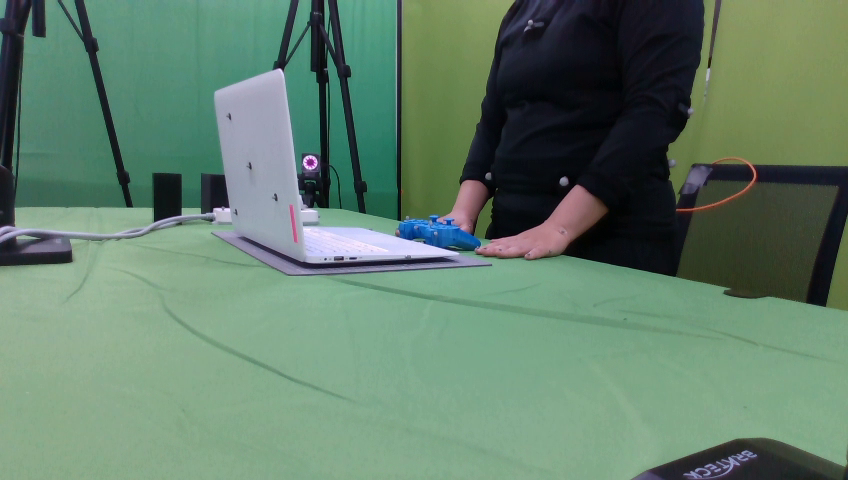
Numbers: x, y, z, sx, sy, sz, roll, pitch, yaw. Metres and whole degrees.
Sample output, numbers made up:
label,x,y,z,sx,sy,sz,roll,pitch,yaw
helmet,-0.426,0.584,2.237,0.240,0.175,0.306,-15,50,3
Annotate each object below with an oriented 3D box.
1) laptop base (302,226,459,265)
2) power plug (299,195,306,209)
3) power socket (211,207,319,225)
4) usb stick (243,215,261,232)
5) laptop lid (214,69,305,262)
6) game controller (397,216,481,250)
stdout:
label,x,y,z,sx,sy,sz,roll,pitch,yaw
laptop base,-0.136,0.006,0.951,0.237,0.023,0.352,2,6,-32
power plug,-0.282,-0.075,1.342,0.035,0.052,0.072,0,4,-18
power socket,-0.334,-0.051,1.281,0.228,0.032,0.072,-1,9,-29
usb stick,-0.302,-0.029,1.071,0.021,0.027,0.059,0,12,-30
laptop lid,-0.246,-0.107,0.866,0.013,0.241,0.355,-11,14,-30
game controller,0.021,-0.014,1.053,0.097,0.051,0.154,-4,9,-30
